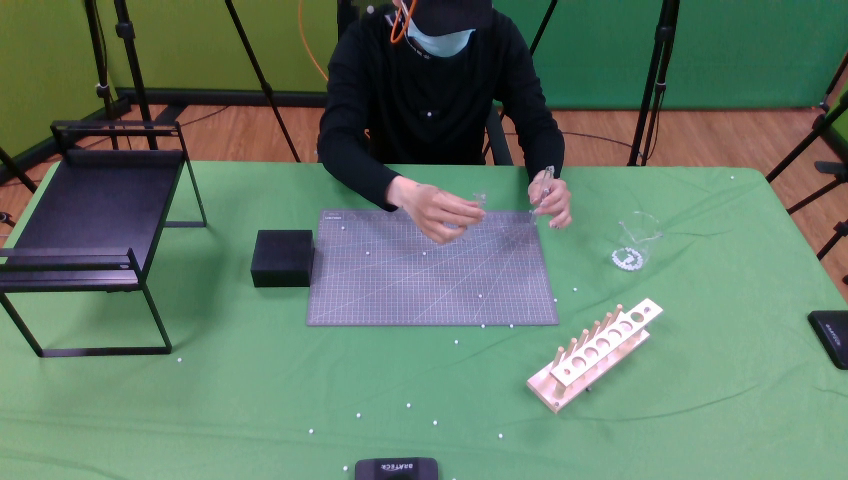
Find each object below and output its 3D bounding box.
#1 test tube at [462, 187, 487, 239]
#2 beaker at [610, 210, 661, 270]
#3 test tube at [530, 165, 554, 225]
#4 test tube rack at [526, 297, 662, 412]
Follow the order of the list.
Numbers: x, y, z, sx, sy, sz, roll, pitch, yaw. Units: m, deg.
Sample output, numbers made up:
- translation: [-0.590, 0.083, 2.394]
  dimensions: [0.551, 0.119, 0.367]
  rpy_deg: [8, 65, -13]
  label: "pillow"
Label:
- translation: [0.086, -0.044, 1.059]
  dimensions: [0.017, 0.151, 0.017]
  rpy_deg: [4, 59, -7]
  label: "test tube"
- translation: [0.404, 0.005, 1.170]
  dimensions: [0.074, 0.101, 0.083]
  rpy_deg: [19, 49, 15]
  label: "beaker"
- translation: [0.215, -0.079, 1.106]
  dimensions: [0.017, 0.151, 0.017]
  rpy_deg: [2, 51, -2]
  label: "test tube"
- translation: [0.284, 0.176, 1.007]
  dimensions: [0.242, 0.085, 0.066]
  rpy_deg: [-29, 54, -27]
  label: "test tube rack"
